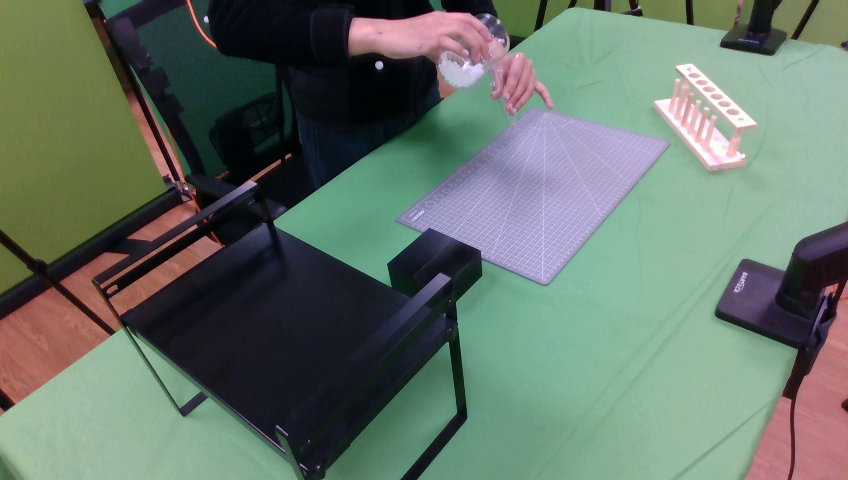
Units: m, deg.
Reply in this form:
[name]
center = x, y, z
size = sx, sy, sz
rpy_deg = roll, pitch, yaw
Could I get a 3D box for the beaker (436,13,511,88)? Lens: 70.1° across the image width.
[beaker]
center = 0.072, -0.279, 0.904
size = 0.073, 0.084, 0.100
rpy_deg = 23, 55, 30

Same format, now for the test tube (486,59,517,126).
[test tube]
center = 0.132, -0.243, 1.012
size = 0.017, 0.151, 0.017
rpy_deg = -11, 55, 18

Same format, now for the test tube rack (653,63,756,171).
[test tube rack]
center = 0.510, -0.233, 1.120
size = 0.067, 0.085, 0.241
rpy_deg = -9, 41, -1
